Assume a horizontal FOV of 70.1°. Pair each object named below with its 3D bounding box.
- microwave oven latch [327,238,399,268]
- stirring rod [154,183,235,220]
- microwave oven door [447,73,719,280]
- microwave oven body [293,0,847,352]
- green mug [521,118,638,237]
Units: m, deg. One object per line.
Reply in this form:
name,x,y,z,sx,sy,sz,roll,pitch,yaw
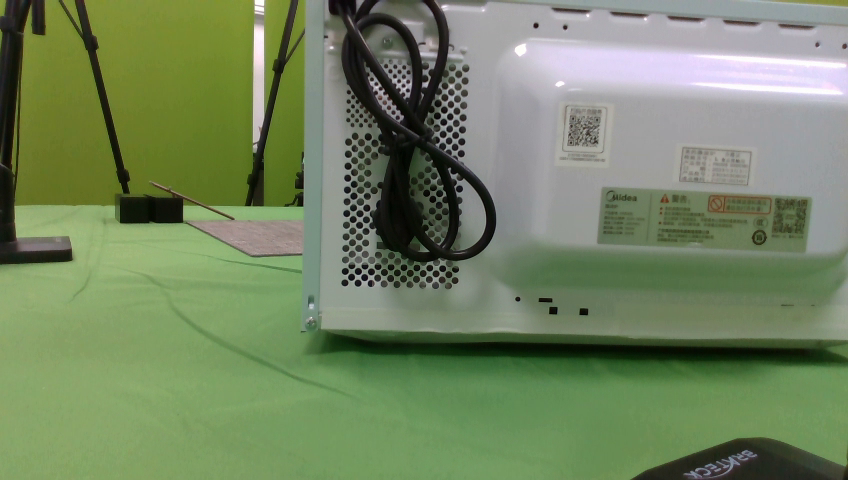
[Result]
microwave oven latch,-0.069,0.015,0.694,0.079,0.029,0.030,3,7,-3
stirring rod,-0.472,-0.079,1.252,0.177,0.006,0.014,27,4,-35
microwave oven door,0.191,-0.091,0.810,0.354,0.243,0.039,8,8,37
microwave oven body,0.122,-0.055,0.550,0.442,0.260,0.325,3,7,-5
green mug,0.145,-0.058,0.585,0.093,0.105,0.124,0,4,-41
